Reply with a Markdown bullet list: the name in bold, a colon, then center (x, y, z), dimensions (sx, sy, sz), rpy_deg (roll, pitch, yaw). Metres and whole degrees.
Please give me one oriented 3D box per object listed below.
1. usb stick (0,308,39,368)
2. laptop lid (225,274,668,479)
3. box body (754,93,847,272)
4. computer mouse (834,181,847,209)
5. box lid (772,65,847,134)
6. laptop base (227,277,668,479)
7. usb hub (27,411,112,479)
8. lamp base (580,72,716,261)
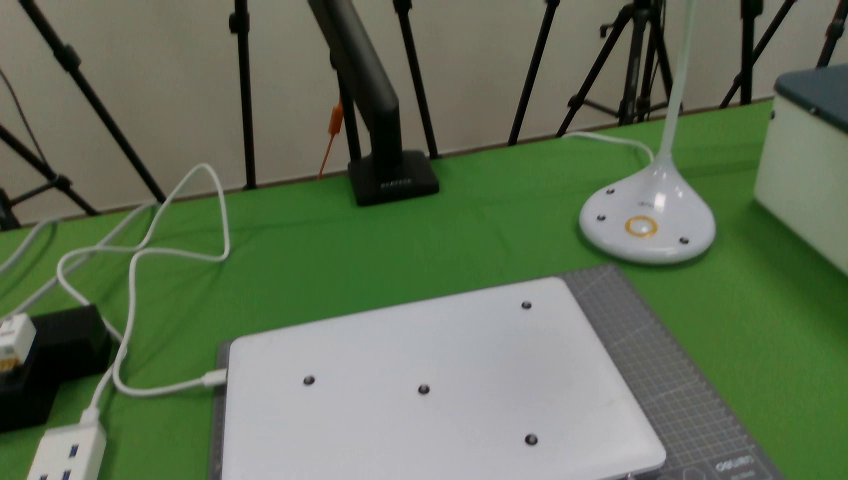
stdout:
- **usb stick**: center (-0.381, 0.092, 0.564), dimensions (0.021, 0.027, 0.058), rpy_deg (-9, 38, -11)
- **laptop lid**: center (0.003, 0.133, 0.543), dimensions (0.357, 0.013, 0.239), rpy_deg (-9, 38, -7)
- **box body**: center (0.570, -0.046, 0.638), dimensions (0.254, 0.162, 0.360), rpy_deg (-10, 36, -8)
- **computer mouse**: center (0.559, -0.041, 0.728), dimensions (0.063, 0.041, 0.116), rpy_deg (-8, 39, -10)
- **box lid**: center (0.566, -0.108, 0.596), dimensions (0.264, 0.015, 0.367), rpy_deg (-10, 37, -8)
- **laptop base**: center (0.003, 0.141, 0.552), dimensions (0.355, 0.023, 0.233), rpy_deg (-10, 39, -8)
- **usb hub**: center (-0.296, 0.199, 0.494), dimensions (0.049, 0.025, 0.124), rpy_deg (-10, 36, -7)
- **lamp base**: center (0.276, -0.095, 0.718), dimensions (0.160, 0.182, 0.178), rpy_deg (10, 36, 19)
